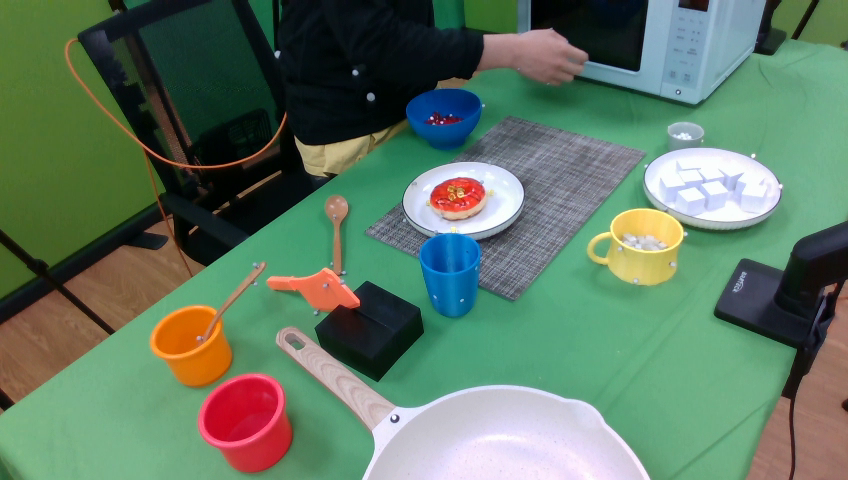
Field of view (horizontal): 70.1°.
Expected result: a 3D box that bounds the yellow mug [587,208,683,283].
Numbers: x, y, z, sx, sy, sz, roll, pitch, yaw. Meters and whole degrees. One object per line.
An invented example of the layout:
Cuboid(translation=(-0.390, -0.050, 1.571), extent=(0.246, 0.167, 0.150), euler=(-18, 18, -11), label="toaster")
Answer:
Cuboid(translation=(0.305, 0.009, 0.884), extent=(0.131, 0.064, 0.099), euler=(-4, 41, 5), label="yellow mug")

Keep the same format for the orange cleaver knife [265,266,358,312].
Cuboid(translation=(-0.164, 0.073, 0.864), extent=(0.210, 0.077, 0.012), euler=(-6, 31, 50), label="orange cleaver knife")

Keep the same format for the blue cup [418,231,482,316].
Cuboid(translation=(0.040, 0.053, 0.843), extent=(0.092, 0.100, 0.092), euler=(-4, 43, 4), label="blue cup")

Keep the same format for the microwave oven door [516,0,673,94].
Cuboid(translation=(0.344, -0.458, 1.256), extent=(0.353, 0.245, 0.039), euler=(26, 51, 33), label="microwave oven door")

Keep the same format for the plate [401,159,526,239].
Cuboid(translation=(0.067, -0.065, 1.019), extent=(0.209, 0.038, 0.208), euler=(-4, 40, 4), label="plate")

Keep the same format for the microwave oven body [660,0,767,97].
Cuboid(translation=(0.473, -0.516, 1.313), extent=(0.438, 0.261, 0.327), euler=(26, 51, 34), label="microwave oven body")

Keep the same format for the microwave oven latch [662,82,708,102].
Cuboid(translation=(0.518, -0.299, 1.202), extent=(0.078, 0.029, 0.030), euler=(29, 53, 36), label="microwave oven latch")

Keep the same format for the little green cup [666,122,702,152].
Cuboid(translation=(0.471, -0.184, 1.102), extent=(0.061, 0.039, 0.061), euler=(-5, 40, 4), label="little green cup")

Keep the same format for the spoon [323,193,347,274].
Cuboid(translation=(-0.148, -0.014, 1.008), extent=(0.042, 0.021, 0.192), euler=(5, 39, -13), label="spoon")

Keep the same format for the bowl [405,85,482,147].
Cuboid(translation=(0.041, -0.236, 1.196), extent=(0.151, 0.077, 0.150), euler=(-4, 41, 4), label="bowl")

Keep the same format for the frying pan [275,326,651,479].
Cuboid(translation=(0.004, 0.229, 0.641), extent=(0.484, 0.103, 0.308), euler=(34, 54, 28), label="frying pan")

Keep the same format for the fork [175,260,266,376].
Cuboid(translation=(-0.268, 0.103, 0.792), extent=(0.207, 0.019, 0.028), euler=(-51, 41, 16), label="fork")

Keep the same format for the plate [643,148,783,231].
Cuboid(translation=(0.464, -0.080, 0.986), extent=(0.207, 0.039, 0.206), euler=(-4, 41, 4), label="plate")

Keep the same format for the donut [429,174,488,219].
Cuboid(translation=(0.058, -0.075, 1.015), extent=(0.099, 0.048, 0.098), euler=(-6, 38, 5), label="donut")
